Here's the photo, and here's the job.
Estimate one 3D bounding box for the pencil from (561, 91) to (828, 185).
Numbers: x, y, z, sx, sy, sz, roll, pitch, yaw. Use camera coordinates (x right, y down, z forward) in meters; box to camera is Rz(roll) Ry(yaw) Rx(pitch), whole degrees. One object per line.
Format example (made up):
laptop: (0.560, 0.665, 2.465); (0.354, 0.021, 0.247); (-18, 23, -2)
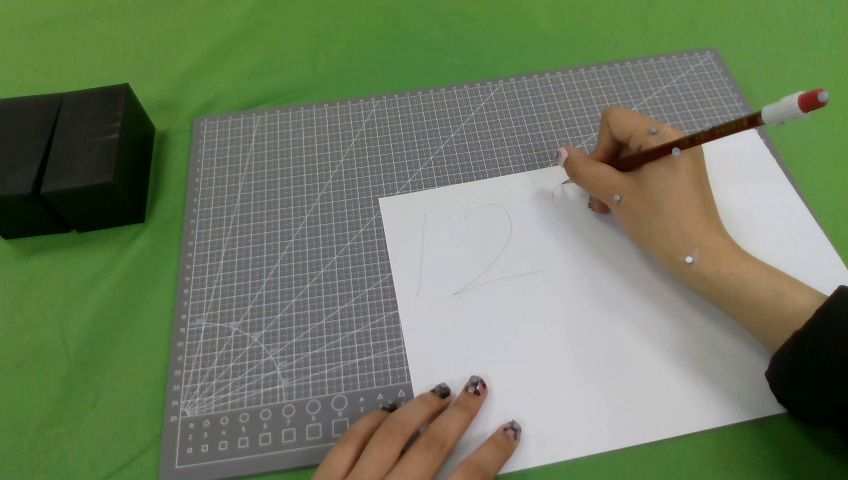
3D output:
pencil: (0.144, -0.053, 0.366); (0.012, 0.193, 0.012); (3, 82, -25)
